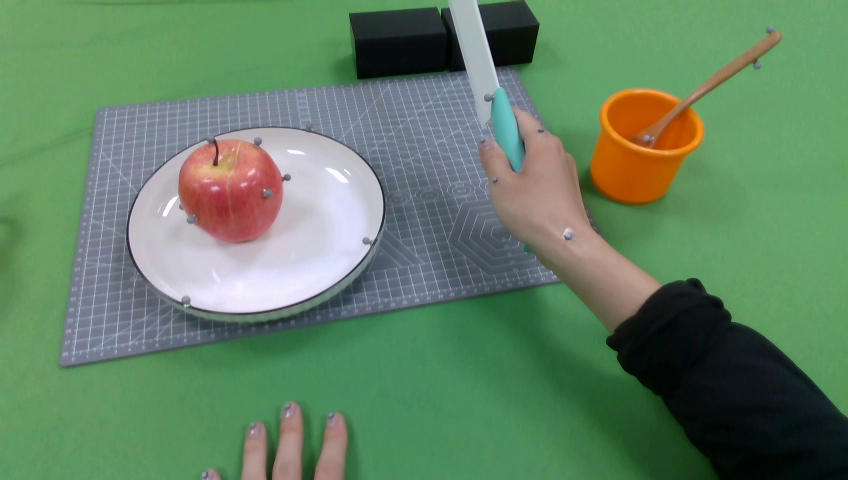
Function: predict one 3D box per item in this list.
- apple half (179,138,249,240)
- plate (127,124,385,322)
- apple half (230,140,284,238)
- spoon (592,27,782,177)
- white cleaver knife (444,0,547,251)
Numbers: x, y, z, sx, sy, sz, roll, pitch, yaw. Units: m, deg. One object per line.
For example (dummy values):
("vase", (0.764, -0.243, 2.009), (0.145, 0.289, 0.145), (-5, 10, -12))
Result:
("apple half", (-0.170, -0.041, 0.499), (0.053, 0.075, 0.080), (-1, 55, 2))
("plate", (-0.137, -0.017, 0.515), (0.209, 0.038, 0.207), (2, 52, -2))
("apple half", (-0.132, -0.041, 0.500), (0.033, 0.082, 0.080), (-2, 52, 2))
("spoon", (0.236, -0.123, 0.552), (0.022, 0.194, 0.041), (25, 33, -41))
("white cleaver knife", (0.053, -0.129, 0.512), (0.021, 0.066, 0.285), (-13, 85, -11))
